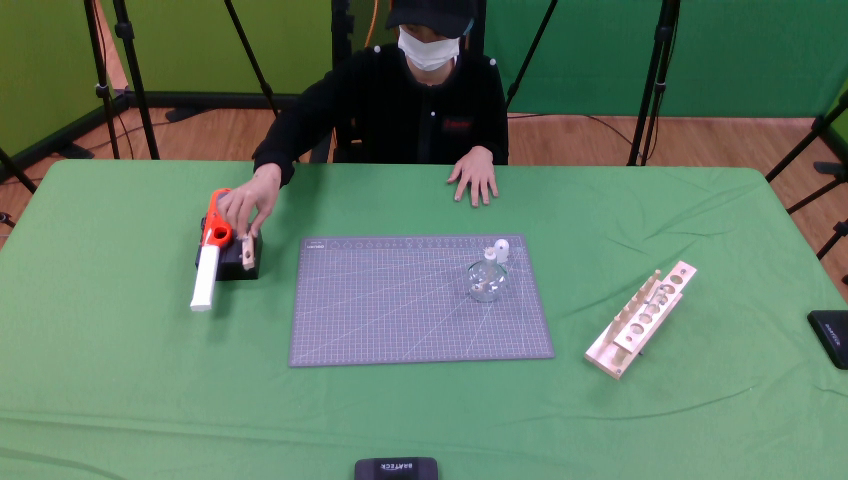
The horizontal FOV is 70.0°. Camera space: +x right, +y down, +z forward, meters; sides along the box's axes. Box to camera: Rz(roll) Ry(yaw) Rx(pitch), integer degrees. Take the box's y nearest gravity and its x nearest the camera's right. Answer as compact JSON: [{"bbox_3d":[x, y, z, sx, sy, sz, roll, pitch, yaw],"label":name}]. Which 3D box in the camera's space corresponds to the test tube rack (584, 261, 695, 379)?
[{"bbox_3d":[0.380,0.127,1.062,0.066,0.085,0.242,34,53,26],"label":"test tube rack"}]

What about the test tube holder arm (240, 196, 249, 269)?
[{"bbox_3d":[-0.323,-0.018,1.089,0.013,0.015,0.177,-7,47,-14],"label":"test tube holder arm"}]

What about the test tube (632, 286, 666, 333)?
[{"bbox_3d":[0.363,0.125,0.993,0.017,0.151,0.017,2,49,-2],"label":"test tube"}]

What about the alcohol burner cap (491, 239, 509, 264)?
[{"bbox_3d":[0.150,0.020,1.174,0.034,0.048,0.033,2,46,-2],"label":"alcohol burner cap"}]

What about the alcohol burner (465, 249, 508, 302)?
[{"bbox_3d":[0.114,0.057,1.085,0.078,0.120,0.077,2,48,-2],"label":"alcohol burner"}]

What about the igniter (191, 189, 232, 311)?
[{"bbox_3d":[-0.381,0.008,1.092,0.057,0.025,0.274,-1,50,-6],"label":"igniter"}]

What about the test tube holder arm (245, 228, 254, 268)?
[{"bbox_3d":[-0.306,0.013,1.060,0.010,0.015,0.087,-7,47,-14],"label":"test tube holder arm"}]
